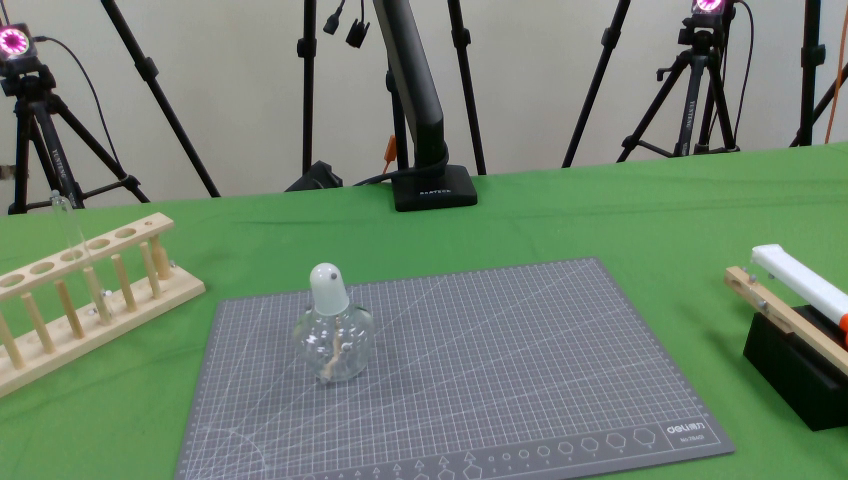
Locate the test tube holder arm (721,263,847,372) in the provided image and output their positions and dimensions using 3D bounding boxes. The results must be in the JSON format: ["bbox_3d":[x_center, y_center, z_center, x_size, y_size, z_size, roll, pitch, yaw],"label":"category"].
[{"bbox_3d":[0.323,0.070,0.529,0.015,0.013,0.176,-15,31,-9],"label":"test tube holder arm"}]

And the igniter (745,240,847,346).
[{"bbox_3d":[0.376,0.072,0.524,0.057,0.025,0.274,-7,29,-7],"label":"igniter"}]

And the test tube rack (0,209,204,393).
[{"bbox_3d":[-0.363,0.059,0.630,0.066,0.086,0.242,24,40,35],"label":"test tube rack"}]

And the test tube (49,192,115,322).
[{"bbox_3d":[-0.340,0.020,0.605,0.017,0.151,0.017,-2,33,1],"label":"test tube"}]

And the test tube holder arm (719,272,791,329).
[{"bbox_3d":[0.313,0.054,0.570,0.015,0.010,0.087,-15,31,-9],"label":"test tube holder arm"}]

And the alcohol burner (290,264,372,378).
[{"bbox_3d":[-0.087,0.069,0.562,0.078,0.120,0.077,0,33,1],"label":"alcohol burner"}]

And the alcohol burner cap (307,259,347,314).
[{"bbox_3d":[-0.088,0.039,0.543,0.034,0.048,0.033,-3,36,2],"label":"alcohol burner cap"}]
